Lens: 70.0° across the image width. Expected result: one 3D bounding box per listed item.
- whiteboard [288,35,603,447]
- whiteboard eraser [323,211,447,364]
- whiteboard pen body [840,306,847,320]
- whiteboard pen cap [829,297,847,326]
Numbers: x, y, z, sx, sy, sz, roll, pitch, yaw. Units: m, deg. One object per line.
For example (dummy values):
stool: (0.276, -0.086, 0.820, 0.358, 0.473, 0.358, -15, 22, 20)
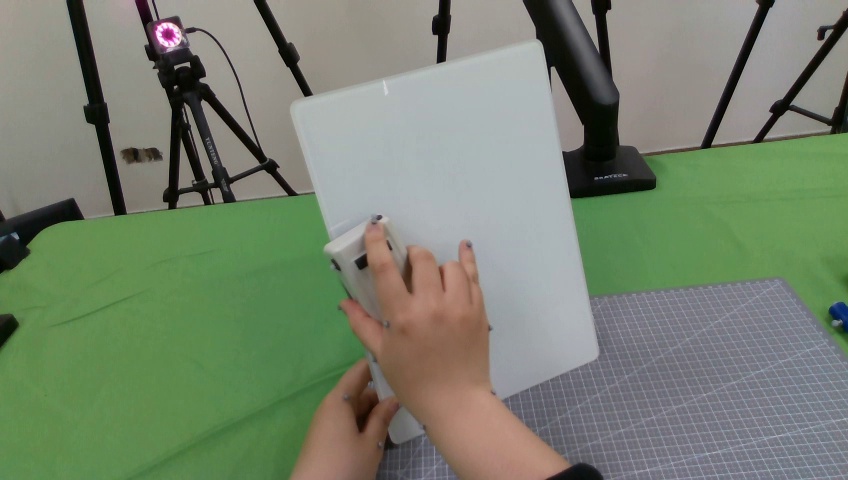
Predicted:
whiteboard: (0.015, -0.008, 0.575, 0.217, 0.307, 0.143, -19, 16, -14)
whiteboard eraser: (-0.030, 0.038, 0.478, 0.055, 0.113, 0.041, -31, 20, -14)
whiteboard pen body: (0.409, 0.104, 0.533, 0.017, 0.017, 0.139, -7, 34, 3)
whiteboard pen cap: (0.406, 0.071, 0.580, 0.018, 0.018, 0.033, -8, 33, 1)
